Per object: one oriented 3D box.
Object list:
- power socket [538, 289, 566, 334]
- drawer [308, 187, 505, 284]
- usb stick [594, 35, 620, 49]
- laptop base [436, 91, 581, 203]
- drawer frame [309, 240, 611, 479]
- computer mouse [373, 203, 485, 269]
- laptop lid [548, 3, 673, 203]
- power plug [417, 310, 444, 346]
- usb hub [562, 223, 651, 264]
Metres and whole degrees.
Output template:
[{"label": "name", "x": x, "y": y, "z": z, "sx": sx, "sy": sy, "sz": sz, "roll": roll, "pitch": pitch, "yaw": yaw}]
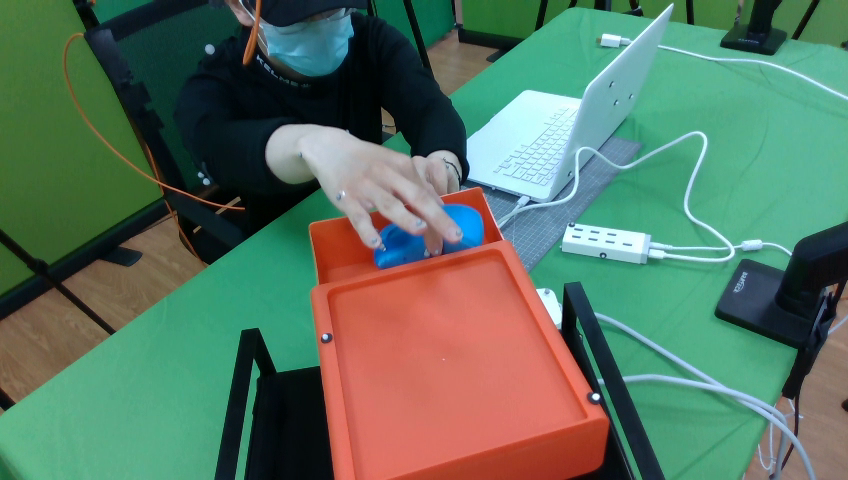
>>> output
[{"label": "power socket", "x": 0.081, "y": 0.111, "z": 0.822, "sx": 0.227, "sy": 0.033, "sz": 0.072, "roll": -6, "pitch": 41, "yaw": 0}, {"label": "drawer", "x": -0.005, "y": 0.050, "z": 0.595, "sx": 0.195, "sy": 0.073, "sz": 0.210, "roll": -12, "pitch": 41, "yaw": -6}, {"label": "usb stick", "x": 0.444, "y": -0.482, "z": 1.466, "sx": 0.059, "sy": 0.021, "sz": 0.027, "roll": 9, "pitch": 43, "yaw": 9}, {"label": "laptop base", "x": 0.215, "y": -0.193, "z": 1.172, "sx": 0.233, "sy": 0.023, "sz": 0.355, "roll": 19, "pitch": 46, "yaw": 32}, {"label": "drawer frame", "x": 0.017, "y": 0.110, "z": 0.516, "sx": 0.202, "sy": 0.083, "sz": 0.212, "roll": -13, "pitch": 41, "yaw": -8}, {"label": "computer mouse", "x": 0.003, "y": -0.004, "z": 0.610, "sx": 0.117, "sy": 0.041, "sz": 0.062, "roll": -10, "pitch": 39, "yaw": 17}, {"label": "laptop lid", "x": 0.320, "y": -0.235, "z": 1.026, "sx": 0.013, "sy": 0.242, "sz": 0.357, "roll": 31, "pitch": 50, "yaw": 20}, {"label": "power plug", "x": 0.006, "y": 0.123, "z": 0.785, "sx": 0.035, "sy": 0.053, "sz": 0.072, "roll": 1, "pitch": 39, "yaw": 9}, {"label": "usb hub", "x": 0.279, "y": 0.004, "z": 0.926, "sx": 0.124, "sy": 0.025, "sz": 0.049, "roll": 10, "pitch": 43, "yaw": 19}]
